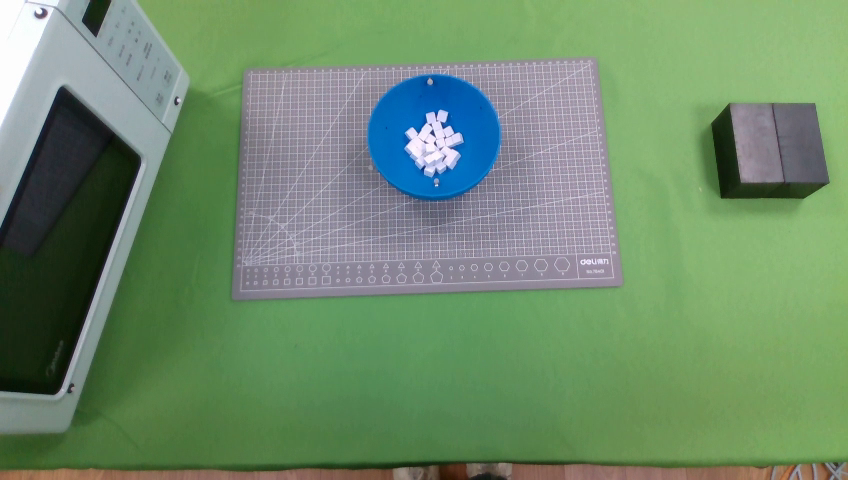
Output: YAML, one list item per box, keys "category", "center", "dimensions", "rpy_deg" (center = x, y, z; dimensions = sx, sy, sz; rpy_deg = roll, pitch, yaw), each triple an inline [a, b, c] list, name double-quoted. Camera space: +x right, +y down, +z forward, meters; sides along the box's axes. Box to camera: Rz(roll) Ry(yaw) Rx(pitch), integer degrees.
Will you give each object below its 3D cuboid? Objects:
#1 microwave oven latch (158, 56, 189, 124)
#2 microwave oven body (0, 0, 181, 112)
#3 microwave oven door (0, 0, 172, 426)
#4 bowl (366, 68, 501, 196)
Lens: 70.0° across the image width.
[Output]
- category: "microwave oven latch"
  center: [-0.309, -0.183, 0.730]
  dimensions: [0.030, 0.029, 0.079]
  rpy_deg: [13, 76, 4]
- category: "microwave oven body"
  center: [-0.493, -0.072, 0.601]
  dimensions: [0.326, 0.261, 0.439]
  rpy_deg: [12, 76, 3]
- category: "microwave oven door"
  center: [-0.359, -0.005, 0.577]
  dimensions: [0.039, 0.245, 0.354]
  rpy_deg: [11, 75, 4]
- category: "bowl"
  center: [0.011, -0.113, 0.703]
  dimensions: [0.151, 0.077, 0.150]
  rpy_deg: [0, 75, 1]
